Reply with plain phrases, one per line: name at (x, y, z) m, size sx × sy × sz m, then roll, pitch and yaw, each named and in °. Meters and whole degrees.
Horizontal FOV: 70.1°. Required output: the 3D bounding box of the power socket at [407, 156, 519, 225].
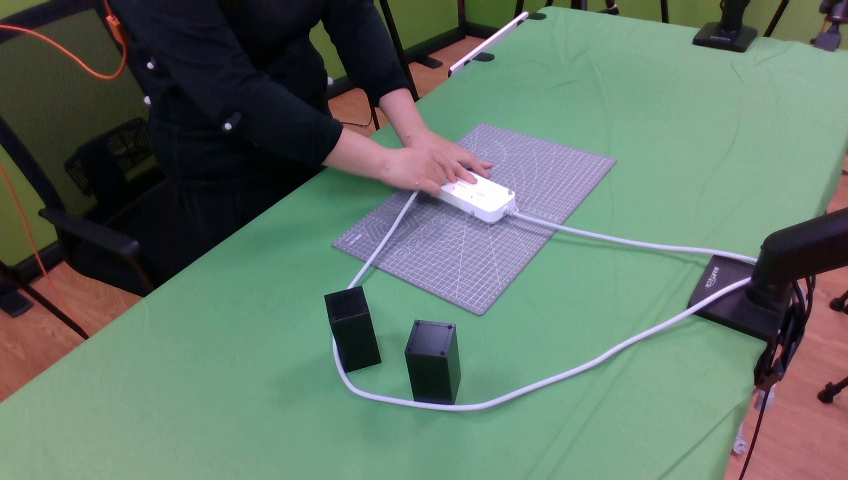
power socket at (0.062, -0.090, 1.054) m, size 0.072 × 0.033 × 0.225 m, roll -36°, pitch 48°, yaw -29°

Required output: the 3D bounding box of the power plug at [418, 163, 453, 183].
power plug at (0.016, -0.105, 1.046) m, size 0.073 × 0.053 × 0.035 m, roll -26°, pitch 42°, yaw -20°
